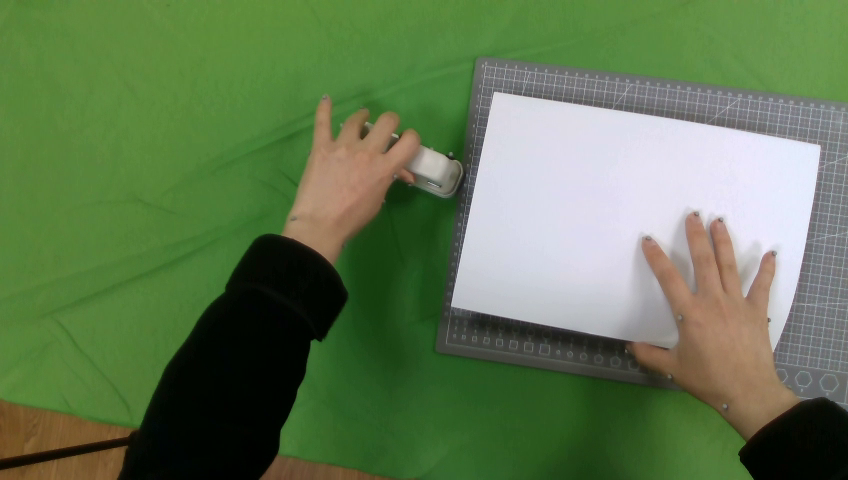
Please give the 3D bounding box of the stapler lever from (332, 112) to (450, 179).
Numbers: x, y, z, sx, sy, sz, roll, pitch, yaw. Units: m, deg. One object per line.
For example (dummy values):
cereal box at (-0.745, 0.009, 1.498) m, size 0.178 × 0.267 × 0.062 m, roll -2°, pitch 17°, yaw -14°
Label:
stapler lever at (-0.032, -0.090, 0.571) m, size 0.118 × 0.040 × 0.027 m, roll 23°, pitch 86°, yaw 7°

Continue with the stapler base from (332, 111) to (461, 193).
stapler base at (-0.028, -0.088, 0.596) m, size 0.130 × 0.024 × 0.041 m, roll 23°, pitch 87°, yaw 6°
